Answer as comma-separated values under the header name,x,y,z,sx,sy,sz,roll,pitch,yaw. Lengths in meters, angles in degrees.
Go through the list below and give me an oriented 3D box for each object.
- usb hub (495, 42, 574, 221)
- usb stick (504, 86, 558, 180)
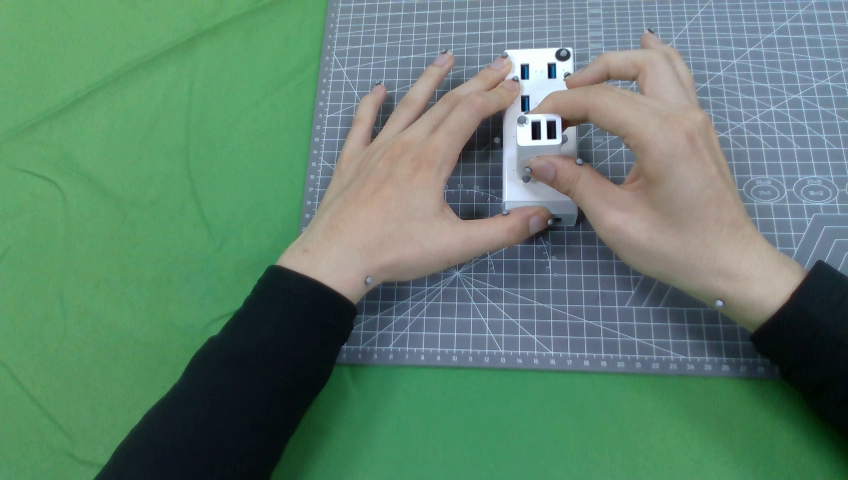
name,x,y,z,sx,sy,sz,roll,pitch,yaw
usb hub,0.074,-0.075,0.409,0.049,0.025,0.124,0,72,6
usb stick,0.063,-0.063,0.356,0.027,0.060,0.021,-29,59,-9
